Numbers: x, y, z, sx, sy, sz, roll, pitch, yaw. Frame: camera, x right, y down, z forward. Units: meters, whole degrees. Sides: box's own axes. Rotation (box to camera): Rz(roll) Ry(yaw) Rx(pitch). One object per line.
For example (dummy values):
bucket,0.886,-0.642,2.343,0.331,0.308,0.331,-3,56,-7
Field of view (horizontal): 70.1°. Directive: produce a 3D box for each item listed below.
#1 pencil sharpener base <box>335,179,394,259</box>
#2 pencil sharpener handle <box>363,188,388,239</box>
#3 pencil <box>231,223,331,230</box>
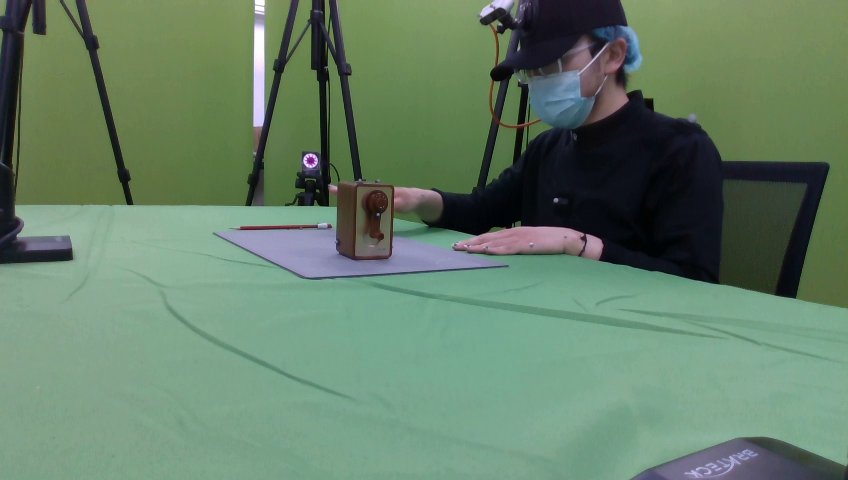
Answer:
pencil sharpener base,-0.084,-0.030,0.855,0.061,0.107,0.076,-1,8,-28
pencil sharpener handle,-0.061,-0.035,0.809,0.036,0.067,0.030,4,6,-29
pencil,-0.272,-0.026,1.165,0.195,0.012,0.012,-3,9,-28
